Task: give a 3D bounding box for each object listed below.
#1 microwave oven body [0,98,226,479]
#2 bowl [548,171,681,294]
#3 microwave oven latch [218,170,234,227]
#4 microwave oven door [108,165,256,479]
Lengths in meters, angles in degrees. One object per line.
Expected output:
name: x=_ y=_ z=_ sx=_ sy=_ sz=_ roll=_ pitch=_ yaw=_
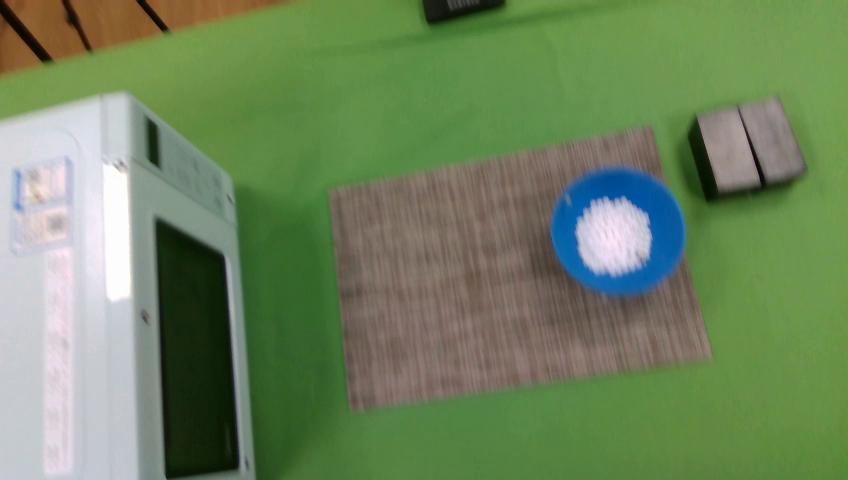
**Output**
microwave oven body: x=-0.419 y=0.113 z=0.723 sx=0.326 sy=0.262 sz=0.439 roll=-11 pitch=73 yaw=6
bowl: x=0.228 y=0.000 z=0.741 sx=0.151 sy=0.077 sz=0.150 roll=-3 pitch=74 yaw=9
microwave oven latch: x=-0.286 y=-0.056 z=0.851 sx=0.030 sy=0.030 sz=0.078 roll=-11 pitch=73 yaw=6
microwave oven door: x=-0.271 y=0.122 z=0.691 sx=0.039 sy=0.245 sz=0.353 roll=-12 pitch=72 yaw=7
